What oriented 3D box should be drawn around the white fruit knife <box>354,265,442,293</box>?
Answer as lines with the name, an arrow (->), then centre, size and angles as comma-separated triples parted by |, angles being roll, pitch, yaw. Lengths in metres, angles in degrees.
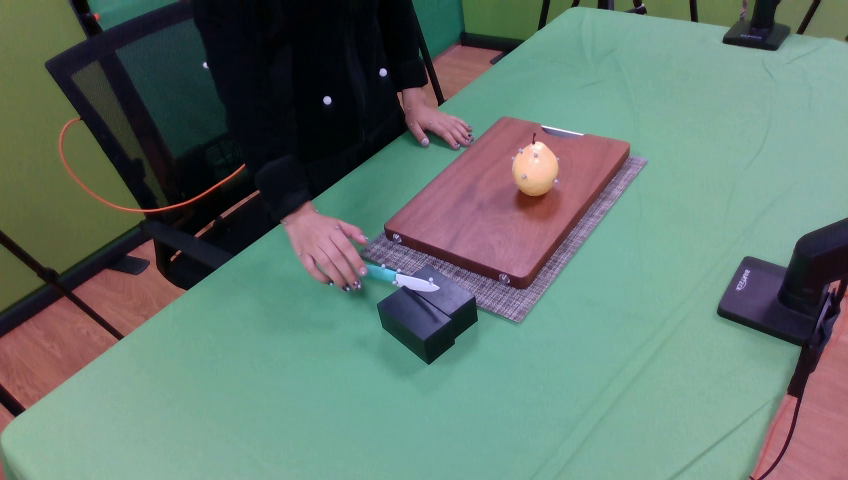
white fruit knife -> -0.041, 0.055, 0.867 | 0.016, 0.027, 0.205 | -32, 24, -33

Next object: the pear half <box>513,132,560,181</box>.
pear half -> 0.186, -0.136, 0.996 | 0.076, 0.110, 0.056 | 6, 42, 13

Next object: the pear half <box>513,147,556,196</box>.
pear half -> 0.178, -0.106, 0.977 | 0.070, 0.088, 0.031 | 7, 43, 12
